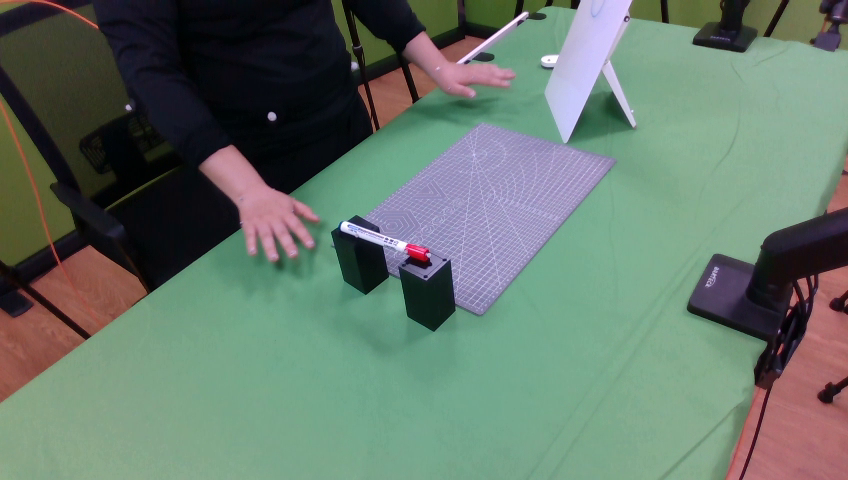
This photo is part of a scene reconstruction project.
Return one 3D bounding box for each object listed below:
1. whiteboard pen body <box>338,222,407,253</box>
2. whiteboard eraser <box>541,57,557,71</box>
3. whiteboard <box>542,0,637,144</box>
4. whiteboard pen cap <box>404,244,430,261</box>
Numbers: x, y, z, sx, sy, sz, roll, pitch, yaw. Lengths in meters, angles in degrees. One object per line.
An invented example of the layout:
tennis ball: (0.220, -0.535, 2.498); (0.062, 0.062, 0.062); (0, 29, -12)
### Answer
whiteboard pen body: (-0.061, -0.001, 0.828); (0.139, 0.017, 0.017); (18, 46, 28)
whiteboard eraser: (0.323, -0.412, 1.407); (0.101, 0.019, 0.041); (1, 42, 11)
whiteboard: (0.366, -0.351, 1.160); (0.144, 0.305, 0.216); (10, 39, -10)
whiteboard pen cap: (-0.010, 0.015, 0.801); (0.032, 0.017, 0.017); (17, 46, 29)
